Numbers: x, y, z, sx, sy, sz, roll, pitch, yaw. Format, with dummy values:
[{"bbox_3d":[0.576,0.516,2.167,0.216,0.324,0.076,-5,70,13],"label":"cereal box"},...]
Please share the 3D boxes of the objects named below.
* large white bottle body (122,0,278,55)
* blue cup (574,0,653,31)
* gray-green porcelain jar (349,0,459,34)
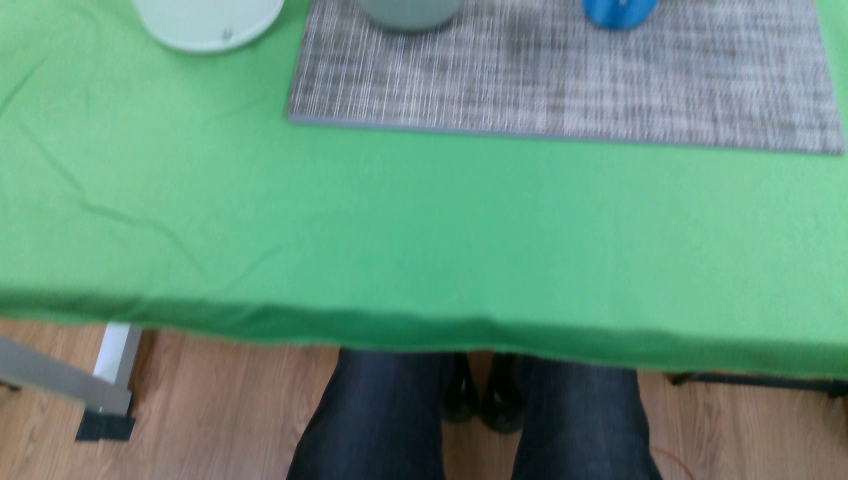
[{"bbox_3d":[-0.198,-0.253,0.470,0.130,0.186,0.129,0,65,1],"label":"large white bottle body"},{"bbox_3d":[0.162,-0.229,0.495,0.092,0.101,0.092,0,66,1],"label":"blue cup"},{"bbox_3d":[-0.018,-0.243,0.491,0.106,0.127,0.105,0,66,1],"label":"gray-green porcelain jar"}]
